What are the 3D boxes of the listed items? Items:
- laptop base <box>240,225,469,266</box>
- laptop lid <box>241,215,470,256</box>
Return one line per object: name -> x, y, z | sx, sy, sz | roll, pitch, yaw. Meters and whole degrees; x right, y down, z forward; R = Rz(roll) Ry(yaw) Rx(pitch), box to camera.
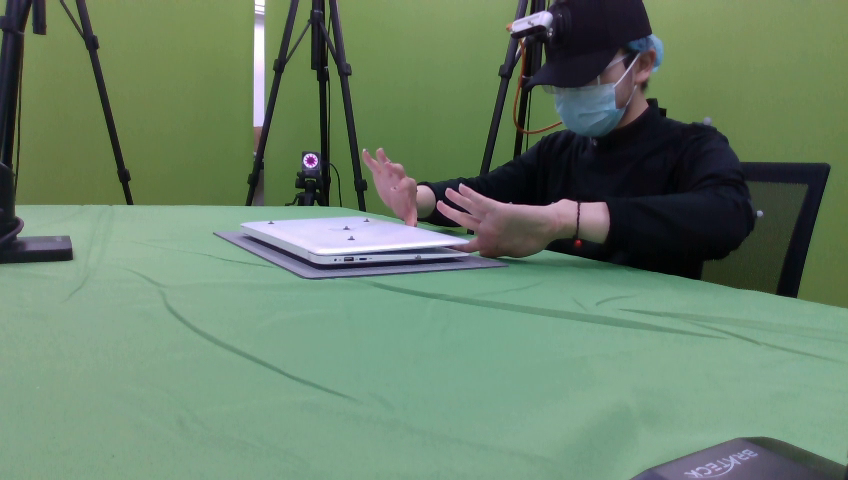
laptop base -> -0.123, 0.005, 0.936 | 0.237, 0.023, 0.352 | 1, 7, -33
laptop lid -> -0.121, -0.014, 0.935 | 0.243, 0.013, 0.355 | -4, 10, -30
